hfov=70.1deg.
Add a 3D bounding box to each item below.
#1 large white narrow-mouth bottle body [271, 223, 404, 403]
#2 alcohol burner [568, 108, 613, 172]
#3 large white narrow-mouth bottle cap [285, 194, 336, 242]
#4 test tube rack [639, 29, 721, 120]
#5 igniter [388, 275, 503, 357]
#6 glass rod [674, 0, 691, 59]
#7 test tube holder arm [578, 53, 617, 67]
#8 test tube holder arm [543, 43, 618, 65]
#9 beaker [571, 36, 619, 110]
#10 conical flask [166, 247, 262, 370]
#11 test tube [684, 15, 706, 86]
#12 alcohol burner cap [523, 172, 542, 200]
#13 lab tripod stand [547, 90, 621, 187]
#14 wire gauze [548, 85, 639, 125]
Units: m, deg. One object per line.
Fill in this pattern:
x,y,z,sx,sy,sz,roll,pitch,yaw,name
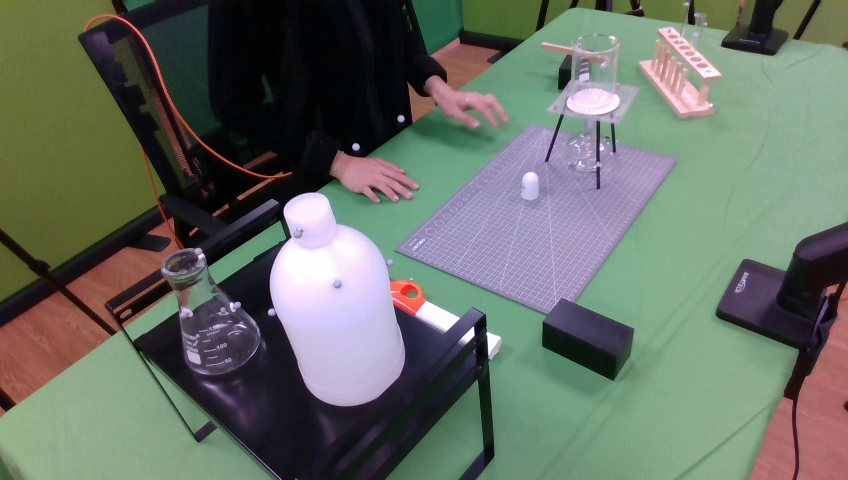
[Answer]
-0.077,0.048,0.525,0.102,0.195,0.101,-5,40,5,large white narrow-mouth bottle body
0.296,-0.182,1.074,0.078,0.119,0.077,-5,43,5,alcohol burner
-0.087,-0.018,0.467,0.038,0.024,0.037,-5,40,4,large white narrow-mouth bottle cap
0.527,-0.351,1.262,0.067,0.085,0.241,-8,40,1,test tube rack
-0.008,0.093,0.870,0.274,0.025,0.057,24,60,33,igniter
0.537,-0.437,1.257,0.008,0.200,0.008,0,39,1,glass rod
0.376,-0.393,1.314,0.087,0.015,0.010,26,51,32,test tube holder arm
0.344,-0.413,1.341,0.177,0.015,0.013,25,51,31,test tube holder arm
0.281,-0.273,0.992,0.084,0.101,0.073,-24,42,-16,beaker
-0.209,0.063,0.584,0.075,0.122,0.075,-5,40,4,conical flask
0.541,-0.378,1.216,0.017,0.151,0.017,-2,44,3,test tube
0.186,-0.096,1.047,0.034,0.048,0.033,-6,37,5,alcohol burner cap
0.289,-0.184,1.062,0.148,0.132,0.147,-6,41,6,lab tripod stand
0.286,-0.233,1.020,0.124,0.011,0.122,15,43,30,wire gauze
